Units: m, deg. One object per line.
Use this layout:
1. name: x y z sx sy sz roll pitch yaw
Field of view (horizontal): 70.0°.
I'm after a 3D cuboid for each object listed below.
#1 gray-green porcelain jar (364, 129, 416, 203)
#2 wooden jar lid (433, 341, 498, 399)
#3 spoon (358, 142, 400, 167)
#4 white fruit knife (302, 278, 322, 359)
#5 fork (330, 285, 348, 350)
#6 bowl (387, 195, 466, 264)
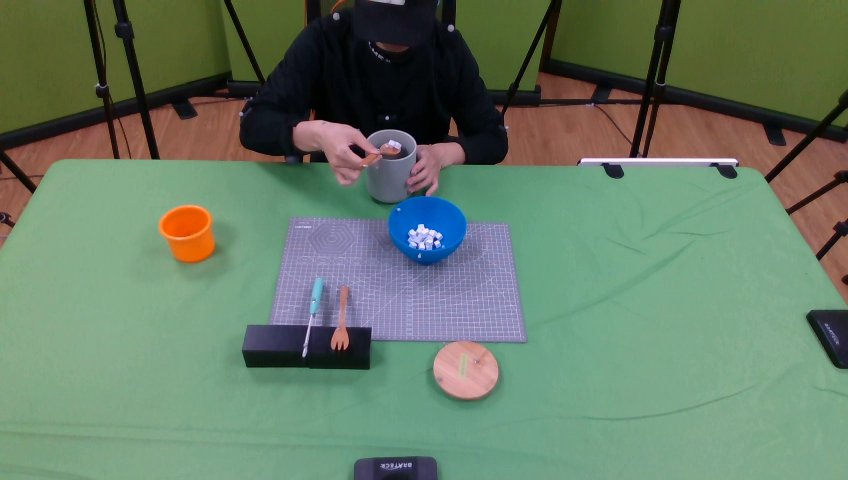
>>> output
1. gray-green porcelain jar: -0.072 -0.149 1.264 0.106 0.127 0.105 2 46 -2
2. wooden jar lid: 0.068 0.216 0.997 0.108 0.021 0.107 1 46 -1
3. spoon: -0.091 -0.166 1.169 0.041 0.022 0.193 19 20 10
4. white fruit knife: -0.189 0.126 1.020 0.016 0.027 0.206 -1 33 -2
5. fork: -0.140 0.127 1.021 0.028 0.019 0.206 -5 28 -2
6. bowl: 0.003 -0.007 1.162 0.151 0.077 0.150 2 46 -2
